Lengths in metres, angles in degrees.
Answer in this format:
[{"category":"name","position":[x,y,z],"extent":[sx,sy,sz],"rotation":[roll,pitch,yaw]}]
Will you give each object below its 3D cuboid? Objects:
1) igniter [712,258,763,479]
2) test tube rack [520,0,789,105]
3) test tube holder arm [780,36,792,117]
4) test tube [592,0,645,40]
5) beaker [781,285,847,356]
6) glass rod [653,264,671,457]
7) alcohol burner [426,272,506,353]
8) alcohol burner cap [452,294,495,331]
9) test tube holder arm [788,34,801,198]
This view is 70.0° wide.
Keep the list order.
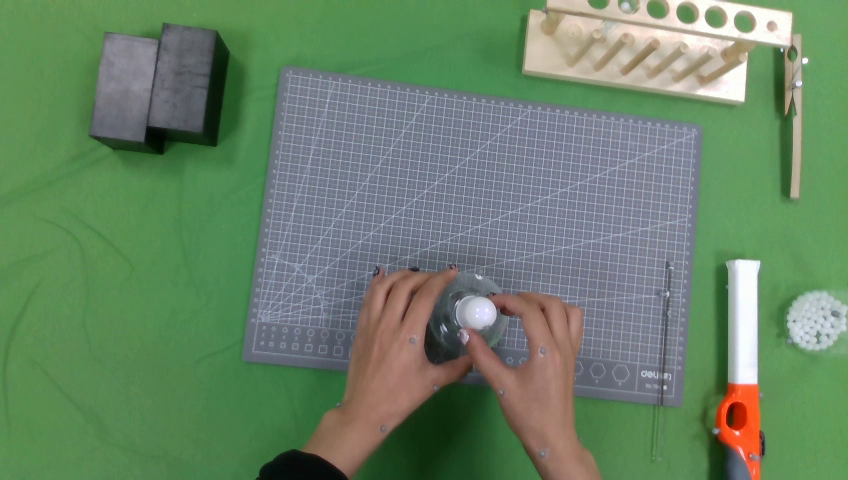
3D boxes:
[{"category":"igniter","position":[0.325,0.157,0.628],"extent":[0.057,0.025,0.276],"rotation":[4,85,-15]},{"category":"test tube rack","position":[0.228,-0.199,0.618],"extent":[0.243,0.085,0.066],"rotation":[7,85,-5]},{"category":"test tube holder arm","position":[0.399,-0.180,0.667],"extent":[0.010,0.015,0.087],"rotation":[-3,85,31]},{"category":"test tube","position":[0.196,-0.226,0.568],"extent":[0.017,0.150,0.017],"rotation":[1,83,-11]},{"category":"beaker","position":[0.420,0.078,0.607],"extent":[0.074,0.100,0.084],"rotation":[20,83,-3]},{"category":"glass rod","position":[0.247,0.124,0.630],"extent":[0.008,0.008,0.199],"rotation":[6,85,-5]},{"category":"alcohol burner","position":[0.042,0.067,0.563],"extent":[0.078,0.119,0.077],"rotation":[1,83,-4]},{"category":"alcohol burner cap","position":[0.045,0.063,0.525],"extent":[0.034,0.048,0.034],"rotation":[1,83,-11]},{"category":"test tube holder arm","position":[0.404,-0.135,0.661],"extent":[0.013,0.015,0.178],"rotation":[-3,85,31]}]
